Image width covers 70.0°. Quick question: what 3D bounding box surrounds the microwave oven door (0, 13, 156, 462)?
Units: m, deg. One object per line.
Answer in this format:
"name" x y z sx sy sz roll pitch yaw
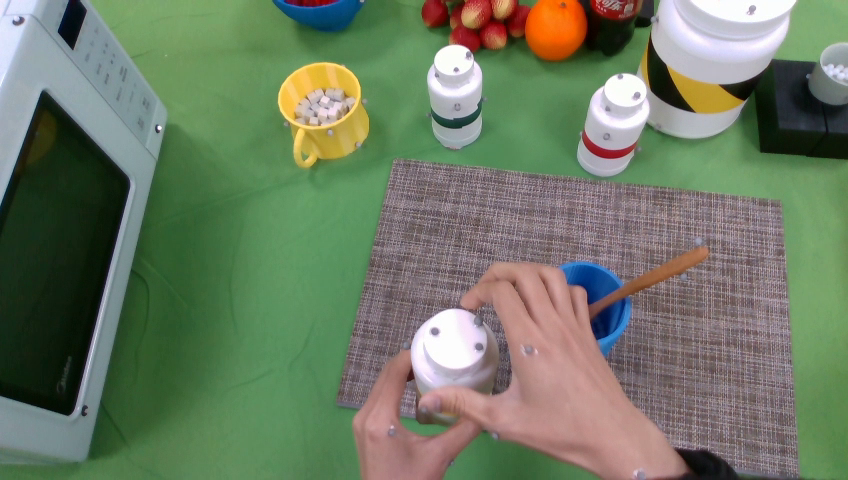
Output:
"microwave oven door" -0.357 0.009 0.567 0.039 0.246 0.353 -2 65 5

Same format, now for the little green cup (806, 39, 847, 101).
"little green cup" 0.460 -0.187 0.671 0.061 0.039 0.061 0 63 1

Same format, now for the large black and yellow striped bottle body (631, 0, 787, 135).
"large black and yellow striped bottle body" 0.312 -0.220 0.674 0.131 0.185 0.129 -2 65 4

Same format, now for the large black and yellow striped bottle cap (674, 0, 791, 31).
"large black and yellow striped bottle cap" 0.304 -0.255 0.598 0.115 0.019 0.114 -2 64 4

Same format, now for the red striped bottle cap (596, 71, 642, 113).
"red striped bottle cap" 0.203 -0.154 0.629 0.044 0.018 0.044 0 64 0

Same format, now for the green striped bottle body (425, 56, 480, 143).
"green striped bottle body" 0.034 -0.172 0.709 0.063 0.120 0.062 -1 65 3

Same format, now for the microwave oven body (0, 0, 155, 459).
"microwave oven body" -0.501 -0.024 0.600 0.326 0.262 0.438 -1 65 4

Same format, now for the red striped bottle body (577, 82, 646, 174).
"red striped bottle body" 0.208 -0.131 0.676 0.063 0.121 0.062 -3 63 6

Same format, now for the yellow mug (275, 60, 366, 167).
"yellow mug" -0.131 -0.149 0.741 0.099 0.064 0.130 16 68 12

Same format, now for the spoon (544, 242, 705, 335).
"spoon" 0.170 0.051 0.550 0.022 0.194 0.041 8 58 -31

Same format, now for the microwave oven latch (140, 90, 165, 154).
"microwave oven latch" -0.344 -0.145 0.751 0.030 0.030 0.078 0 66 4

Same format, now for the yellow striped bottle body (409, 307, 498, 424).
"yellow striped bottle body" 0.022 0.092 0.453 0.063 0.121 0.062 -1 59 2

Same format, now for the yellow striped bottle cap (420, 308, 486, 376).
"yellow striped bottle cap" 0.020 0.068 0.407 0.044 0.019 0.044 0 51 0

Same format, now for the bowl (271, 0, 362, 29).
"bowl" -0.140 -0.344 0.826 0.151 0.077 0.150 -1 65 4

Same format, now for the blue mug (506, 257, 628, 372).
"blue mug" 0.131 0.082 0.586 0.116 0.107 0.081 -27 65 -8

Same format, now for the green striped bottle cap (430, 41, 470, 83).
"green striped bottle cap" 0.028 -0.195 0.662 0.044 0.020 0.044 -1 66 2
